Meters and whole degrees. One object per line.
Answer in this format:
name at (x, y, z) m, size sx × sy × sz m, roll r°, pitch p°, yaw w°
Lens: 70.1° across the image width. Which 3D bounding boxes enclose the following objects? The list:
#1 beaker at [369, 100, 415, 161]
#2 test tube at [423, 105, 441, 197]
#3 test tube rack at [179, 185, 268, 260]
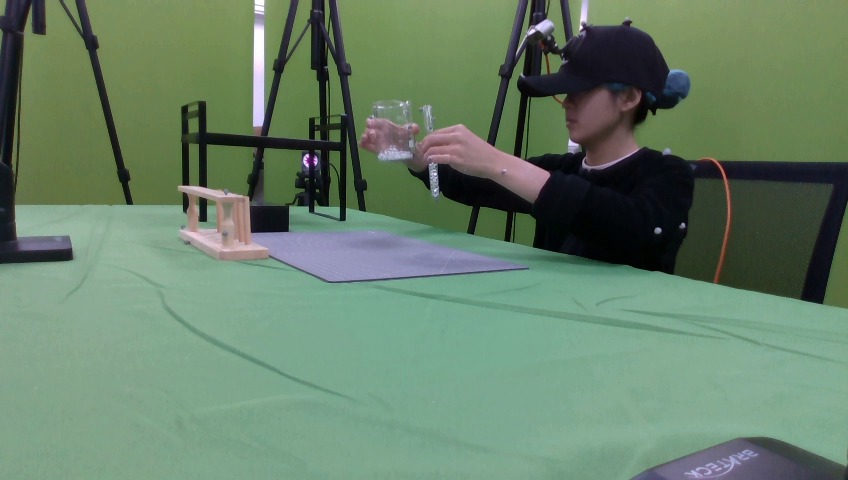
beaker at (-0.052, -0.191, 1.061) m, size 0.074 × 0.100 × 0.083 m, roll -10°, pitch 8°, yaw -38°
test tube at (0.013, -0.144, 0.978) m, size 0.017 × 0.150 × 0.017 m, roll -5°, pitch -1°, yaw 0°
test tube rack at (-0.303, -0.031, 0.898) m, size 0.067 × 0.085 × 0.241 m, roll -2°, pitch 9°, yaw -33°
